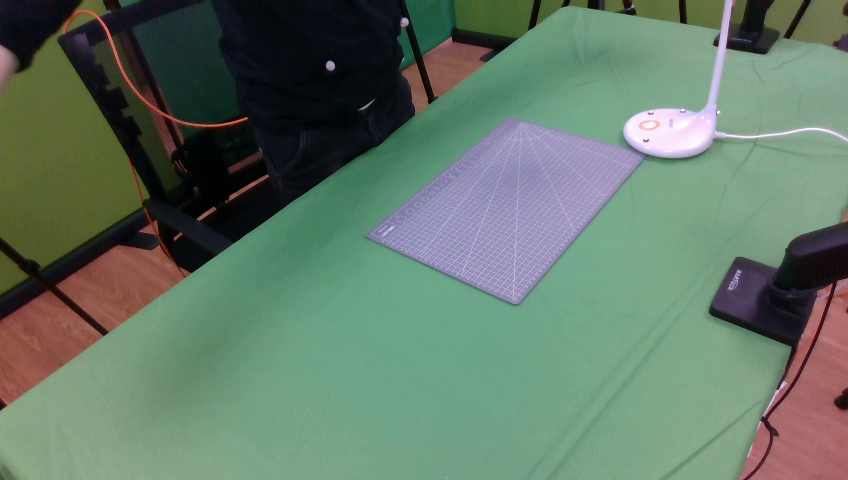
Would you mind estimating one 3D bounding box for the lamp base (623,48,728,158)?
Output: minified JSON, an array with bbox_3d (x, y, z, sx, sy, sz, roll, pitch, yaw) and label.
[{"bbox_3d":[0.462,-0.261,1.084,0.179,0.181,0.160,3,42,7],"label":"lamp base"}]
